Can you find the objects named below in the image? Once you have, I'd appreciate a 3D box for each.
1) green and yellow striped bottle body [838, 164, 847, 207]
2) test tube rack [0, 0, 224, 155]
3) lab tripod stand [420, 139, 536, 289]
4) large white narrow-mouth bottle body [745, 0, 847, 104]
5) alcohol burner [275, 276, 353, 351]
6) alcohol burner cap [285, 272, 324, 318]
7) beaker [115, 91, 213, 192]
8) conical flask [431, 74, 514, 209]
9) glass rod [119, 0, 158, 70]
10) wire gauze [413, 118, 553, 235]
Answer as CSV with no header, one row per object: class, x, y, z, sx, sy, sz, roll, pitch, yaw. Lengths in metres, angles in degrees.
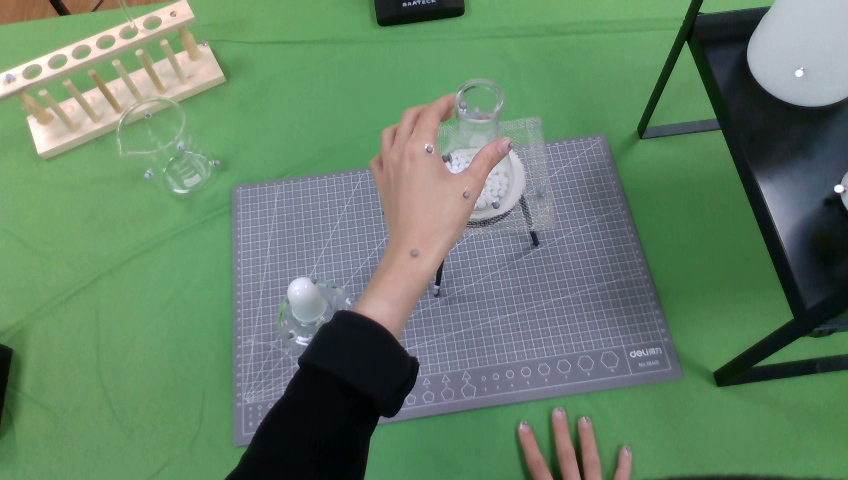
green and yellow striped bottle body,0.360,-0.062,0.431,0.063,0.120,0.062,-1,65,3
test tube rack,-0.382,-0.201,0.741,0.242,0.086,0.066,-27,67,-10
lab tripod stand,0.049,-0.031,0.617,0.148,0.132,0.147,0,64,1
large white narrow-mouth bottle body,0.331,-0.199,0.455,0.102,0.196,0.101,0,64,1
alcohol burner,-0.110,0.065,0.591,0.078,0.120,0.077,0,64,1
alcohol burner cap,-0.112,0.048,0.559,0.034,0.048,0.033,0,59,0
beaker,-0.291,-0.104,0.686,0.073,0.101,0.084,36,72,18
conical flask,0.042,-0.084,0.503,0.075,0.123,0.074,-1,65,2
glass rod,-0.343,-0.267,0.697,0.008,0.201,0.008,1,63,-2
wire gauze,0.052,-0.063,0.559,0.121,0.011,0.124,-2,63,-1
